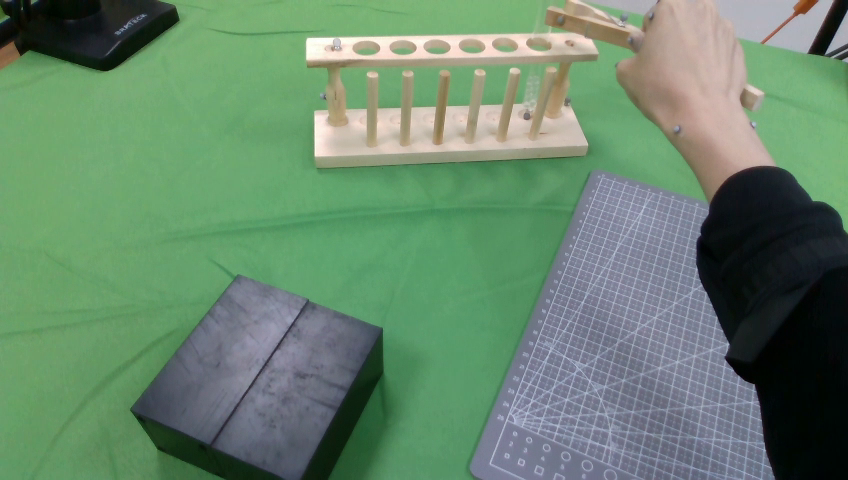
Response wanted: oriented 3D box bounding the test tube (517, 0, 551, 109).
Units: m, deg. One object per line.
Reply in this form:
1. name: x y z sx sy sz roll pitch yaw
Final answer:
1. test tube: 0.095 -0.177 0.511 0.017 0.151 0.017 1 45 -1

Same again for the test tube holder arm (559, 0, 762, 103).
1. test tube holder arm: 0.169 -0.147 0.454 0.013 0.015 0.176 -30 53 -27

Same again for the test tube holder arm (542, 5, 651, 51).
1. test tube holder arm: 0.134 -0.166 0.473 0.087 0.015 0.010 24 49 21

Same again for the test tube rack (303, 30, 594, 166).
1. test tube rack: 0.022 -0.124 0.526 0.243 0.086 0.066 -4 49 -7
